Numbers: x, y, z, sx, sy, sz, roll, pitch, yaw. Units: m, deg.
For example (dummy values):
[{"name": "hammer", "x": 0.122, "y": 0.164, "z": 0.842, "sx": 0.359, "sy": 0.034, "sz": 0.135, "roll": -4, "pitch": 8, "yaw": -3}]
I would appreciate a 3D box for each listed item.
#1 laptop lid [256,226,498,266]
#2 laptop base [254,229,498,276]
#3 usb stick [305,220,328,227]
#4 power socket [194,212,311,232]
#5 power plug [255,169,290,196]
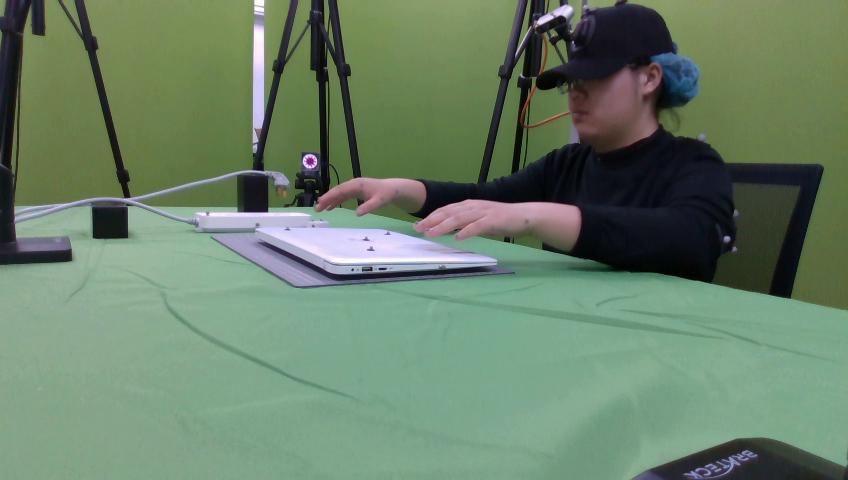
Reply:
[{"name": "laptop lid", "x": -0.085, "y": 0.004, "z": 0.878, "sx": 0.243, "sy": 0.013, "sz": 0.355, "roll": 1, "pitch": 7, "yaw": -29}, {"name": "laptop base", "x": -0.087, "y": 0.016, "z": 0.878, "sx": 0.237, "sy": 0.023, "sz": 0.352, "roll": 2, "pitch": 6, "yaw": -31}, {"name": "usb stick", "x": -0.194, "y": -0.020, "z": 1.075, "sx": 0.021, "sy": 0.027, "sz": 0.059, "roll": 4, "pitch": 10, "yaw": 21}, {"name": "power socket", "x": -0.322, "y": -0.037, "z": 1.153, "sx": 0.228, "sy": 0.032, "sz": 0.072, "roll": -2, "pitch": 8, "yaw": -34}, {"name": "power plug", "x": -0.323, "y": -0.120, "z": 1.285, "sx": 0.073, "sy": 0.052, "sz": 0.035, "roll": 2, "pitch": -14, "yaw": -12}]
